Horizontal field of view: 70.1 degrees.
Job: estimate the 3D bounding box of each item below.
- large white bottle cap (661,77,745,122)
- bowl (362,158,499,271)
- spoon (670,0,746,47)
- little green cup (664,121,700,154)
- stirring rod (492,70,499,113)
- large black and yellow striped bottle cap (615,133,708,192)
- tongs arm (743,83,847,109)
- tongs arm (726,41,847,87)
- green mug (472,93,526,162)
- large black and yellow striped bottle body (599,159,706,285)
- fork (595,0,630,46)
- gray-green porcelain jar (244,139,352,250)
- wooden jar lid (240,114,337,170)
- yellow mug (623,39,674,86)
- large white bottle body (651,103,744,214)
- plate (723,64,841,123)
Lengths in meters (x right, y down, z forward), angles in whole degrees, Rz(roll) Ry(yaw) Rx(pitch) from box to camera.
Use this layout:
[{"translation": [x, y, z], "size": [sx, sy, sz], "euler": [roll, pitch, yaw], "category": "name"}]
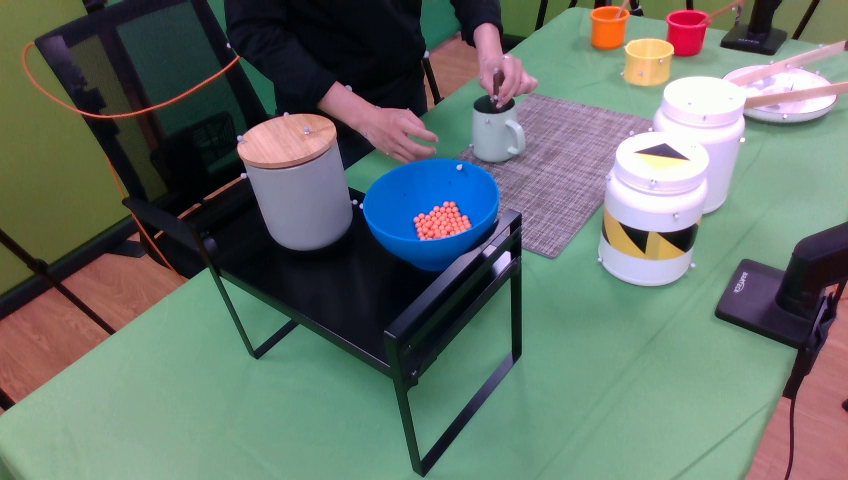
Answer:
[{"translation": [0.415, -0.210, 0.904], "size": [0.115, 0.018, 0.114], "euler": [-4, 40, 4], "category": "large white bottle cap"}, {"translation": [0.011, -0.019, 0.679], "size": [0.151, 0.077, 0.150], "euler": [-5, 41, 5], "category": "bowl"}, {"translation": [0.629, -0.485, 1.350], "size": [0.022, 0.193, 0.042], "euler": [48, 54, -7], "category": "spoon"}, {"translation": [0.472, -0.188, 1.113], "size": [0.061, 0.039, 0.061], "euler": [-5, 40, 5], "category": "little green cup"}, {"translation": [0.129, -0.233, 1.081], "size": [0.006, 0.177, 0.014], "euler": [24, 64, 21], "category": "stirring rod"}, {"translation": [0.312, -0.105, 0.799], "size": [0.115, 0.019, 0.114], "euler": [-5, 41, 5], "category": "large black and yellow striped bottle cap"}, {"translation": [0.738, -0.282, 1.134], "size": [0.388, 0.028, 0.028], "euler": [-9, 47, -5], "category": "tongs arm"}, {"translation": [0.712, -0.332, 1.194], "size": [0.386, 0.026, 0.050], "euler": [-18, 45, -16], "category": "tongs arm"}, {"translation": [0.144, -0.202, 1.122], "size": [0.093, 0.105, 0.124], "euler": [-29, 44, -23], "category": "green mug"}, {"translation": [0.320, -0.042, 0.854], "size": [0.131, 0.185, 0.130], "euler": [-4, 41, 4], "category": "large black and yellow striped bottle body"}, {"translation": [0.480, -0.556, 1.452], "size": [0.028, 0.019, 0.207], "euler": [42, 104, 40], "category": "fork"}, {"translation": [-0.144, -0.060, 0.714], "size": [0.106, 0.127, 0.105], "euler": [-4, 41, 4], "category": "gray-green porcelain jar"}, {"translation": [-0.149, -0.106, 0.673], "size": [0.108, 0.021, 0.108], "euler": [-6, 39, 5], "category": "wooden jar lid"}, {"translation": [0.484, -0.398, 1.334], "size": [0.100, 0.064, 0.130], "euler": [-18, 41, -11], "category": "yellow mug"}, {"translation": [0.426, -0.146, 0.958], "size": [0.130, 0.185, 0.130], "euler": [-4, 40, 4], "category": "large white bottle body"}, {"translation": [0.695, -0.282, 1.189], "size": [0.207, 0.039, 0.206], "euler": [-4, 40, 4], "category": "plate"}]
